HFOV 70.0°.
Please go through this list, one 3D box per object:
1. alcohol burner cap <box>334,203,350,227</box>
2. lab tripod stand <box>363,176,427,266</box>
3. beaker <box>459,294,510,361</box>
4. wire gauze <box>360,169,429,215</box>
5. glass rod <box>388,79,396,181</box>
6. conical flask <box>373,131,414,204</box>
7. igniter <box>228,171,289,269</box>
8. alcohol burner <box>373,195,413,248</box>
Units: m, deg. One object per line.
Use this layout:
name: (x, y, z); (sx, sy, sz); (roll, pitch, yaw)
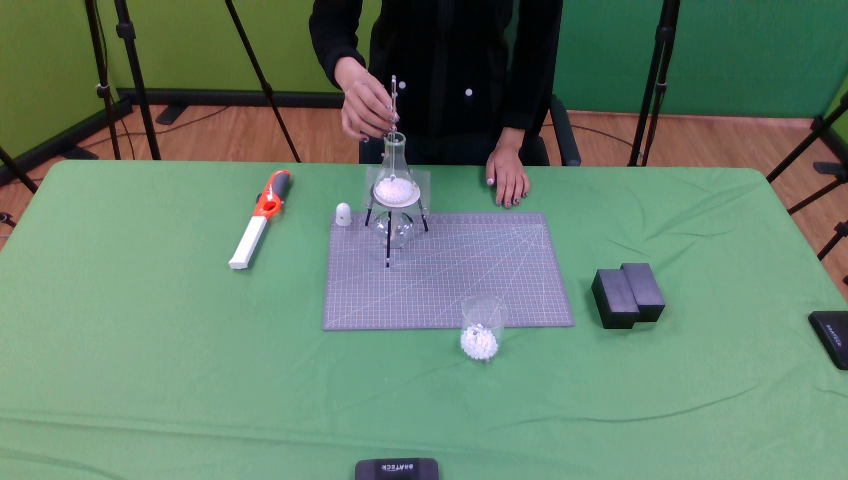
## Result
alcohol burner cap: (-0.166, -0.054, 1.221); (0.034, 0.048, 0.033); (3, 46, -2)
lab tripod stand: (-0.058, -0.047, 1.159); (0.148, 0.132, 0.147); (3, 44, -2)
beaker: (0.094, 0.147, 1.012); (0.083, 0.101, 0.074); (26, 49, 21)
wire gauze: (-0.052, -0.092, 1.111); (0.125, 0.011, 0.120); (3, 43, 1)
glass rod: (-0.054, -0.177, 1.008); (0.008, 0.200, 0.008); (3, 45, -3)
conical flask: (-0.054, -0.130, 1.066); (0.075, 0.122, 0.075); (2, 44, -2)
igniter: (-0.328, -0.049, 1.218); (0.057, 0.025, 0.275); (1, 45, 11)
alcohol burner: (-0.059, -0.041, 1.167); (0.078, 0.119, 0.077); (4, 46, -4)
